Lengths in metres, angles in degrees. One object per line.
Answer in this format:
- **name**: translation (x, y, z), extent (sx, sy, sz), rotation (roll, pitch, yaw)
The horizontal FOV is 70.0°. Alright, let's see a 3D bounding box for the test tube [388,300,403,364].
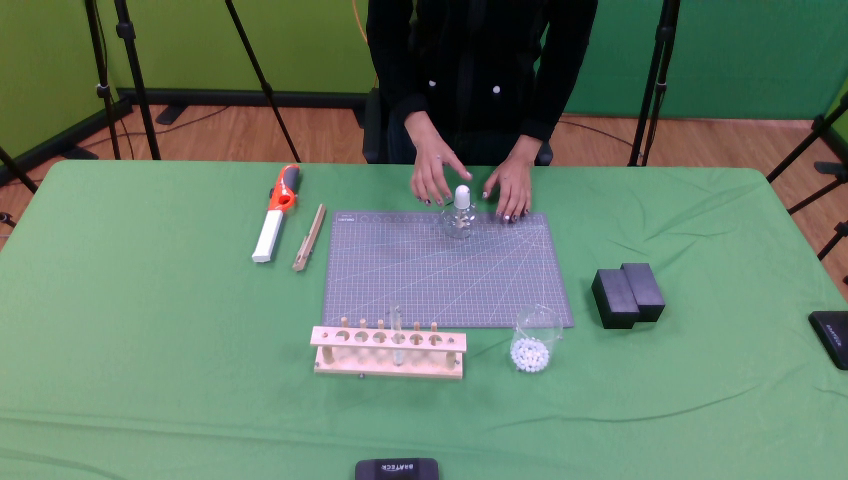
- **test tube**: translation (-0.044, 0.146, 0.942), extent (0.017, 0.151, 0.017), rotation (-1, 44, 1)

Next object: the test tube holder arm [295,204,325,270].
- **test tube holder arm**: translation (-0.222, -0.009, 1.192), extent (0.013, 0.015, 0.177), rotation (-18, 38, 27)

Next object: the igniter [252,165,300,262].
- **igniter**: translation (-0.298, -0.063, 1.234), extent (0.057, 0.025, 0.275), rotation (-2, 45, 7)

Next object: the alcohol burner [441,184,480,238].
- **alcohol burner**: translation (0.073, -0.062, 1.195), extent (0.078, 0.120, 0.077), rotation (1, 47, -1)

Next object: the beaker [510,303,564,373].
- **beaker**: translation (0.182, 0.164, 1.000), extent (0.074, 0.101, 0.083), rotation (2, 46, -1)

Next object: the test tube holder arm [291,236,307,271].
- **test tube holder arm**: translation (-0.234, 0.024, 1.163), extent (0.010, 0.015, 0.087), rotation (-17, 38, 28)

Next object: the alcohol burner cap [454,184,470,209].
- **alcohol burner cap**: translation (0.074, -0.087, 1.170), extent (0.034, 0.048, 0.033), rotation (0, 51, 0)

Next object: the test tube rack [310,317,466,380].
- **test tube rack**: translation (-0.056, 0.171, 0.987), extent (0.242, 0.085, 0.066), rotation (3, 45, -1)
